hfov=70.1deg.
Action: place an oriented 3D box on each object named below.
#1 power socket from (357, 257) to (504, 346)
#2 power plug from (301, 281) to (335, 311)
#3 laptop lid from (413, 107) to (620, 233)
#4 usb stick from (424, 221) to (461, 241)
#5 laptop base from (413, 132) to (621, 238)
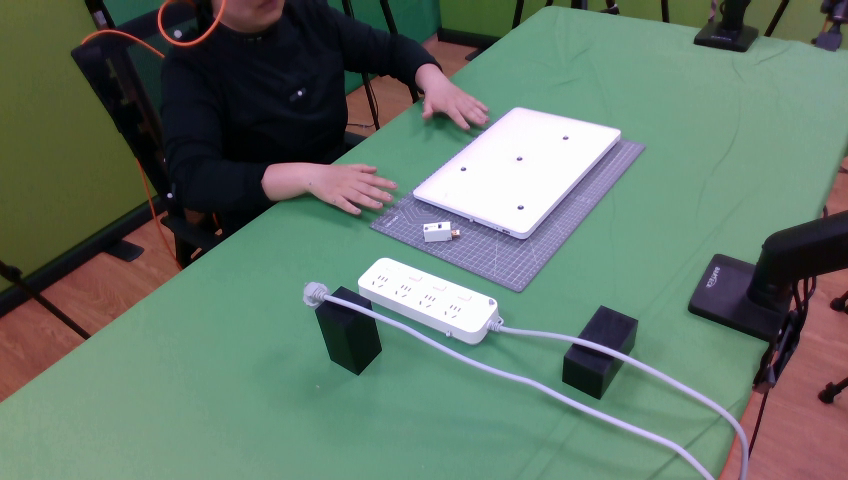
[{"bbox_3d":[0.002,0.084,0.862,0.225,0.033,0.072,20,49,28],"label":"power socket"},{"bbox_3d":[-0.134,0.081,0.783,0.035,0.053,0.072,-43,47,-7],"label":"power plug"},{"bbox_3d":[0.173,-0.144,1.095,0.239,0.013,0.358,23,49,33],"label":"laptop lid"},{"bbox_3d":[0.030,-0.014,0.973,0.059,0.027,0.021,-2,42,2],"label":"usb stick"},{"bbox_3d":[0.176,-0.134,1.101,0.233,0.023,0.355,21,48,34],"label":"laptop base"}]
